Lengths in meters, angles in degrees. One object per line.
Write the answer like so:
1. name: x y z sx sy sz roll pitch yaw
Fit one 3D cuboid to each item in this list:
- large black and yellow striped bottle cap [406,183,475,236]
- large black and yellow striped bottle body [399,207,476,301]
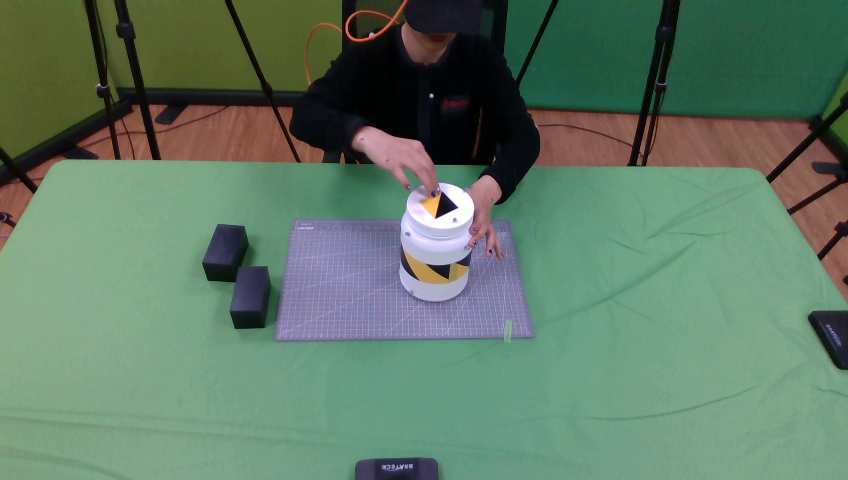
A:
1. large black and yellow striped bottle cap: 0.028 -0.053 1.013 0.115 0.019 0.114 2 45 -2
2. large black and yellow striped bottle body: 0.022 0.006 1.076 0.131 0.185 0.130 2 46 -2
